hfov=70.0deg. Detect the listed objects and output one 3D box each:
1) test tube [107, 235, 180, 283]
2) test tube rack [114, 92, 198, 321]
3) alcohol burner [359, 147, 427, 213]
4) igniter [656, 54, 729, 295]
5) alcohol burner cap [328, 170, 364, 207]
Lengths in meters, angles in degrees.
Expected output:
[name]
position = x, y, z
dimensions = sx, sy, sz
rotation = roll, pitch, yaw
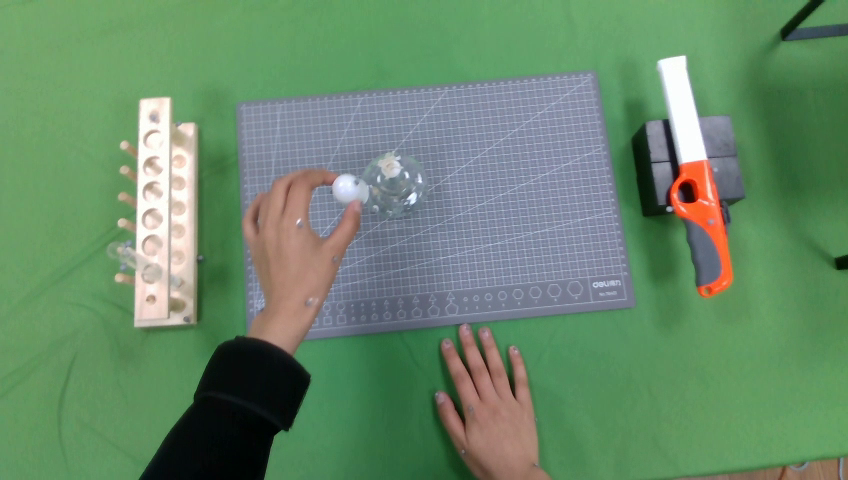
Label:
[test tube]
position = -0.281, 0.023, 0.617
dimensions = 0.017, 0.151, 0.017
rotation = 1, 74, -2
[test tube rack]
position = -0.302, -0.034, 0.678
dimensions = 0.067, 0.085, 0.241
rotation = -3, 79, -2
[alcohol burner]
position = -0.035, -0.071, 0.672
dimensions = 0.078, 0.119, 0.077
rotation = 0, 80, 0
[igniter]
position = 0.300, -0.077, 0.678
dimensions = 0.057, 0.025, 0.275
rotation = -7, 79, 9
[alcohol burner cap]
position = -0.079, -0.053, 0.599
dimensions = 0.034, 0.048, 0.033
rotation = 0, 81, 2
